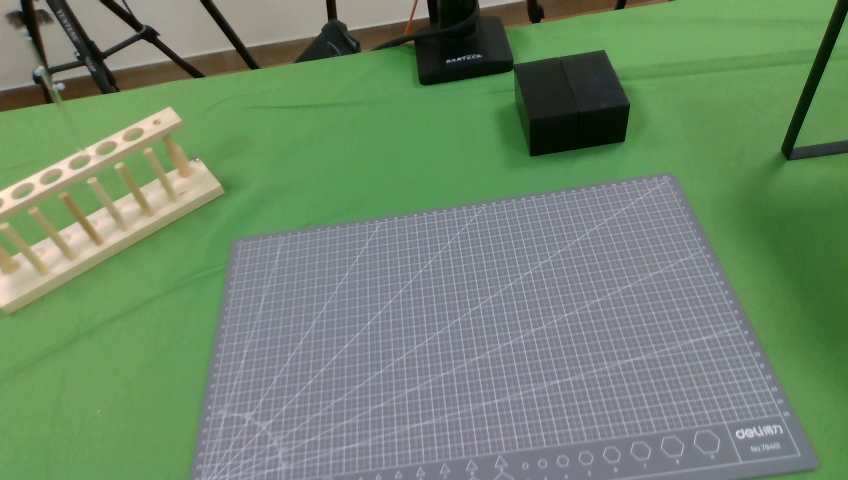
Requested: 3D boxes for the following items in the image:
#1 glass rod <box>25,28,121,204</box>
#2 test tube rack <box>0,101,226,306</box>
[{"bbox_3d":[-0.340,-0.110,0.596,0.008,0.201,0.008,-3,41,3],"label":"glass rod"},{"bbox_3d":[-0.342,-0.042,0.627,0.242,0.086,0.066,-33,53,-18],"label":"test tube rack"}]
